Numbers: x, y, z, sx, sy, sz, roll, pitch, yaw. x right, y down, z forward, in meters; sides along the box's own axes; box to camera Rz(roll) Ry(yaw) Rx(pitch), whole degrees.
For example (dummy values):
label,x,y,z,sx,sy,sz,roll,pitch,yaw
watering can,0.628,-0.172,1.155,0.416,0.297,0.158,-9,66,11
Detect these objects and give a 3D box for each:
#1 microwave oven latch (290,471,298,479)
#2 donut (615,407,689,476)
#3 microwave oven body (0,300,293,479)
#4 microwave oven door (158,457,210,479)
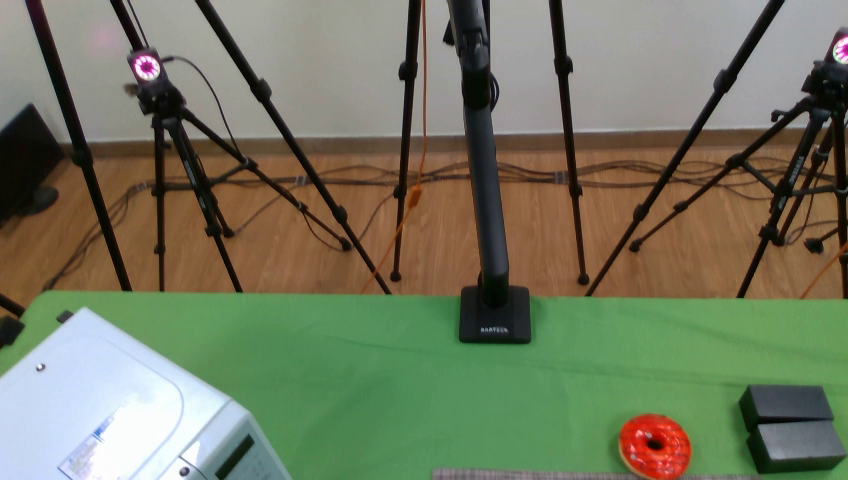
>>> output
label,x,y,z,sx,sy,sz,roll,pitch,yaw
microwave oven latch,-0.205,0.347,0.822,0.030,0.030,0.079,25,56,24
donut,0.317,0.281,0.846,0.099,0.049,0.098,-5,44,6
microwave oven body,-0.432,0.347,0.714,0.324,0.263,0.440,23,55,23
microwave oven door,-0.332,0.422,0.629,0.039,0.246,0.354,22,54,24
